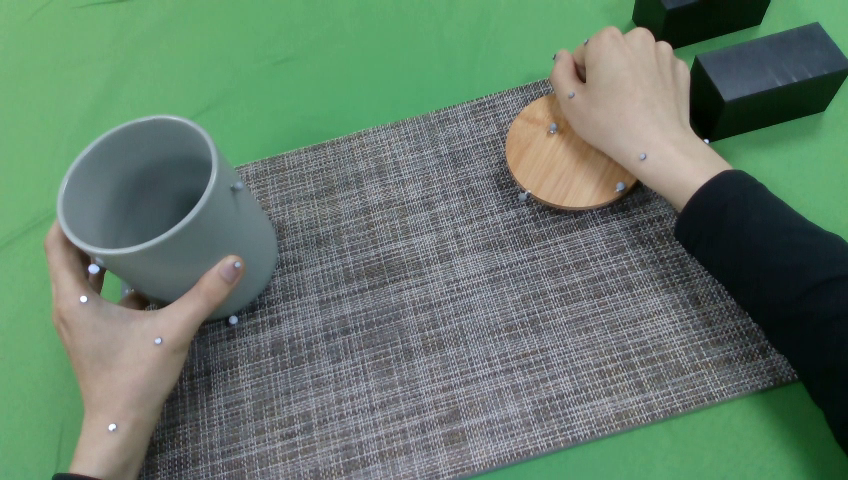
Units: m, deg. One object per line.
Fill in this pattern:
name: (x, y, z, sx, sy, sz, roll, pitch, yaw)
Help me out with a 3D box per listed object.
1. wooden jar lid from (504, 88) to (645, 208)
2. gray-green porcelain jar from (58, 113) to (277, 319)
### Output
wooden jar lid: (0.118, -0.072, 0.481, 0.108, 0.021, 0.107, -2, 68, 6)
gray-green porcelain jar: (-0.170, -0.009, 0.433, 0.106, 0.127, 0.105, -3, 60, 6)
